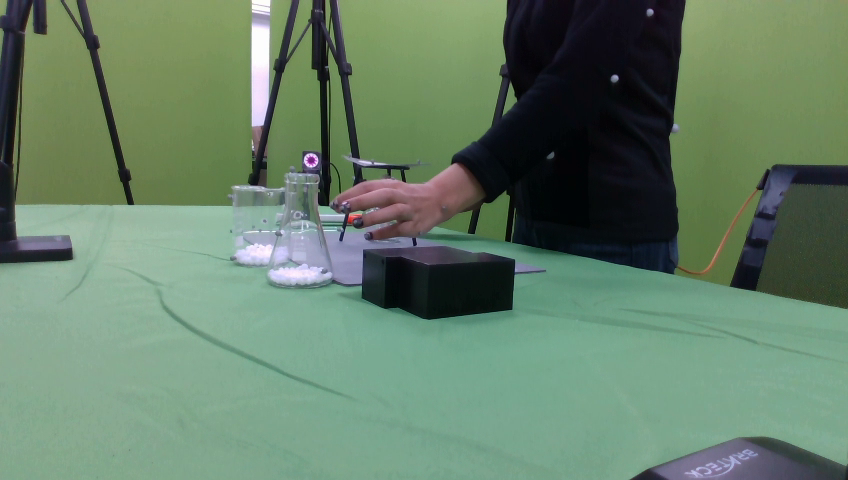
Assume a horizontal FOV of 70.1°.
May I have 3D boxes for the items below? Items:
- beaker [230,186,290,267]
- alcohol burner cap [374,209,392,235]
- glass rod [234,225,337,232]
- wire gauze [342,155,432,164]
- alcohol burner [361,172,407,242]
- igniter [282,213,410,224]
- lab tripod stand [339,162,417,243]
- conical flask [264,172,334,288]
[{"bbox_3d":[-0.209,-0.019,0.778,0.074,0.100,0.084,3,7,4],"label":"beaker"},{"bbox_3d":[-0.078,-0.036,1.148,0.034,0.048,0.034,2,7,0],"label":"alcohol burner cap"},{"bbox_3d":[-0.256,-0.022,1.136,0.201,0.008,0.008,-3,9,-33],"label":"glass rod"},{"bbox_3d":[-0.065,-0.131,1.017,0.122,0.011,0.124,1,9,-26],"label":"wire gauze"},{"bbox_3d":[-0.067,-0.056,1.030,0.078,0.119,0.078,3,9,0],"label":"alcohol burner"},{"bbox_3d":[-0.159,-0.046,1.287,0.278,0.025,0.057,-1,-3,-21],"label":"igniter"},{"bbox_3d":[-0.067,-0.065,1.027,0.148,0.131,0.148,4,7,0],"label":"lab tripod stand"},{"bbox_3d":[-0.136,-0.013,0.660,0.075,0.122,0.075,2,7,0],"label":"conical flask"}]
